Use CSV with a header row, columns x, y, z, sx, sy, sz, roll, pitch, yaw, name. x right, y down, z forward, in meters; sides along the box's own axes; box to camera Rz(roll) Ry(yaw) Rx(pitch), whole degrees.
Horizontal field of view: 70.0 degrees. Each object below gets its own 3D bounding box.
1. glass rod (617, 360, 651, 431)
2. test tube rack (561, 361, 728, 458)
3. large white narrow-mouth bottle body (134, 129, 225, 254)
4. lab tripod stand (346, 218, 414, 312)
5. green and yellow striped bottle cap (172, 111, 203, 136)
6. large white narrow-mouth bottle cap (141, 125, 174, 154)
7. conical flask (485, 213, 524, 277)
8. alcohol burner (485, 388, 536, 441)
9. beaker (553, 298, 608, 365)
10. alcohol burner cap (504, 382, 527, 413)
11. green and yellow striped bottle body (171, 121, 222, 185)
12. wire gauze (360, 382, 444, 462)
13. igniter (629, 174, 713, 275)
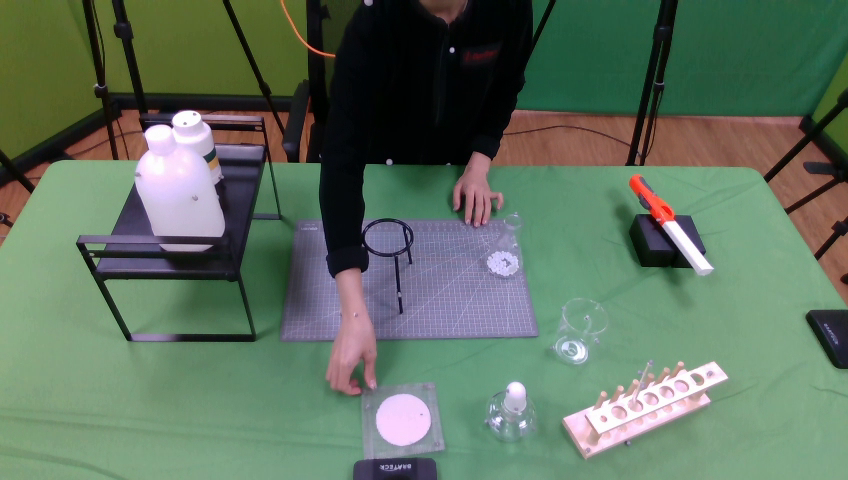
x,y,z,sx,sy,sz,roll,pitch,yaw,name
0.298,0.227,0.865,0.008,0.201,0.008,-1,48,2,glass rod
0.341,0.248,0.940,0.243,0.085,0.066,-15,49,-18,test tube rack
-0.358,-0.076,0.875,0.102,0.195,0.101,1,47,-1,large white narrow-mouth bottle body
-0.070,0.037,1.075,0.148,0.132,0.147,1,47,-1,lab tripod stand
-0.374,-0.185,0.958,0.045,0.020,0.045,4,46,-4,green and yellow striped bottle cap
-0.356,-0.134,0.811,0.038,0.024,0.037,1,47,-1,large white narrow-mouth bottle cap
0.157,0.007,1.129,0.075,0.122,0.075,2,46,-2,conical flask
0.131,0.249,0.904,0.078,0.120,0.077,1,48,-1,alcohol burner
0.260,0.154,1.015,0.073,0.101,0.084,37,54,27,beaker
0.133,0.225,0.877,0.034,0.048,0.033,-4,47,4,alcohol burner cap
-0.375,-0.149,0.995,0.063,0.120,0.063,2,46,-2,green and yellow striped bottle body
-0.037,0.277,0.937,0.121,0.011,0.124,-4,47,-6,wire gauze
0.481,-0.040,1.202,0.057,0.025,0.274,-2,46,-21,igniter
